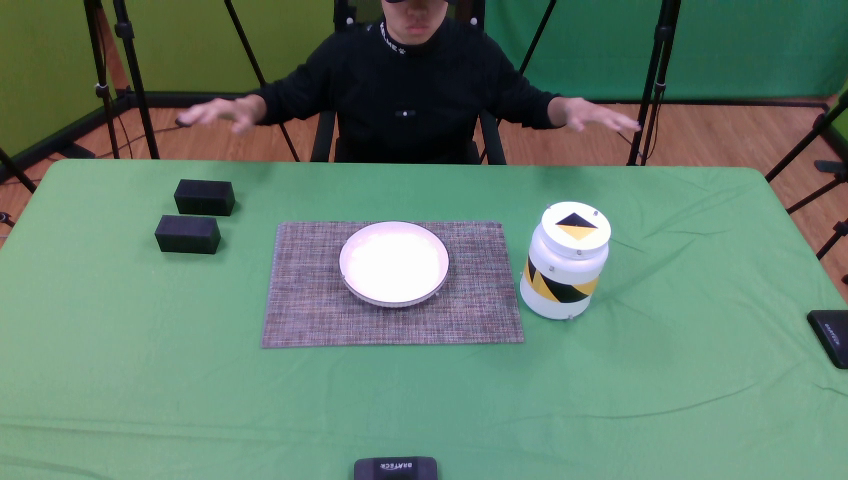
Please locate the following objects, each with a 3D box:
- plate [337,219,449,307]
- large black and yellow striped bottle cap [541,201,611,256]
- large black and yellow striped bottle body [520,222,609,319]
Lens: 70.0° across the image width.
[{"bbox_3d":[-0.057,0.045,1.133,0.208,0.039,0.206,2,46,-2],"label":"plate"},{"bbox_3d":[0.252,-0.021,1.004,0.115,0.019,0.114,1,47,-1],"label":"large black and yellow striped bottle cap"},{"bbox_3d":[0.247,0.038,1.065,0.131,0.185,0.130,2,46,-2],"label":"large black and yellow striped bottle body"}]
